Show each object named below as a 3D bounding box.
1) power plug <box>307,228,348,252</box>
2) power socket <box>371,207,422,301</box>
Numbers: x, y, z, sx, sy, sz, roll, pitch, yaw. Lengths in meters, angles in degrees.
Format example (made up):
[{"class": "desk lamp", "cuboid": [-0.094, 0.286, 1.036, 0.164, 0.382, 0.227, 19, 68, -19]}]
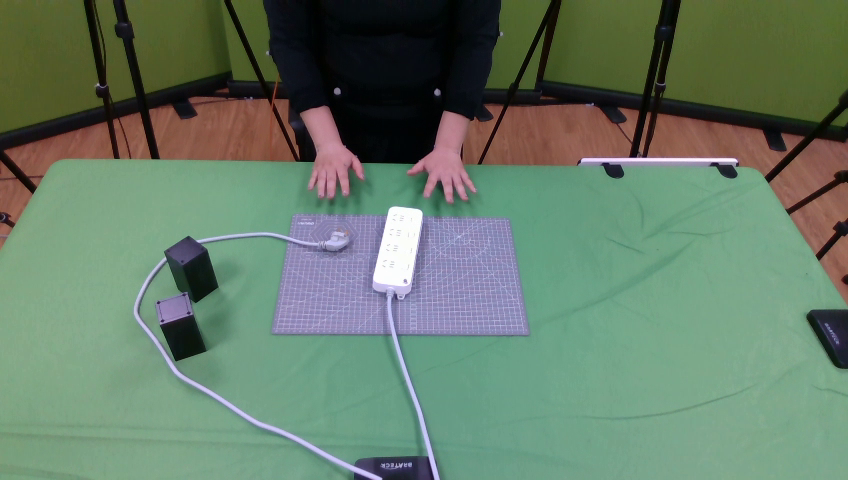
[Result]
[{"class": "power plug", "cuboid": [-0.183, -0.006, 1.170, 0.072, 0.035, 0.052, 18, 49, -2]}, {"class": "power socket", "cuboid": [-0.051, 0.018, 1.165, 0.072, 0.033, 0.225, 6, 46, 3]}]
